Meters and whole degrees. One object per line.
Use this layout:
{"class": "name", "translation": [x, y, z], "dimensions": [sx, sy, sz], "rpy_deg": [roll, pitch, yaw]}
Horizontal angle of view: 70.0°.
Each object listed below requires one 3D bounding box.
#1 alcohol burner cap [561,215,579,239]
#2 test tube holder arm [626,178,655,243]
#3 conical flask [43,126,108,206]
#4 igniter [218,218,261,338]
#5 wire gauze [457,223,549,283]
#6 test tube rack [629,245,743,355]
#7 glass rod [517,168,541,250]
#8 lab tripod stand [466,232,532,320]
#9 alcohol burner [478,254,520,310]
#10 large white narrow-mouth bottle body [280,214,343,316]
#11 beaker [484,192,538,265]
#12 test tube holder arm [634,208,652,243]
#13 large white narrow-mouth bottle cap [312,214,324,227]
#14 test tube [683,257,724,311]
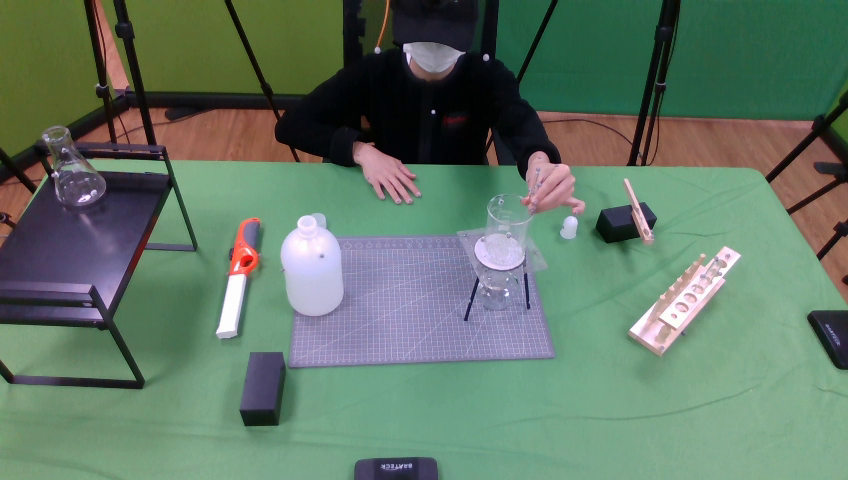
{"class": "alcohol burner cap", "translation": [0.299, -0.030, 1.231], "dimensions": [0.034, 0.048, 0.033], "rpy_deg": [0, 47, 0]}
{"class": "test tube holder arm", "translation": [0.434, -0.063, 1.220], "dimensions": [0.013, 0.015, 0.177], "rpy_deg": [3, 47, -4]}
{"class": "conical flask", "translation": [-0.555, -0.119, 0.953], "dimensions": [0.075, 0.122, 0.075], "rpy_deg": [2, 46, -2]}
{"class": "igniter", "translation": [-0.337, 0.060, 1.111], "dimensions": [0.057, 0.025, 0.274], "rpy_deg": [-8, 46, 4]}
{"class": "wire gauze", "translation": [0.131, 0.016, 1.017], "dimensions": [0.121, 0.011, 0.124], "rpy_deg": [-10, 44, -15]}
{"class": "test tube rack", "translation": [0.474, 0.095, 1.091], "dimensions": [0.242, 0.085, 0.066], "rpy_deg": [-34, 56, -31]}
{"class": "glass rod", "translation": [0.161, -0.042, 0.933], "dimensions": [0.008, 0.200, 0.008], "rpy_deg": [1, 55, -1]}
{"class": "lab tripod stand", "translation": [0.125, 0.059, 1.065], "dimensions": [0.148, 0.132, 0.147], "rpy_deg": [1, 45, 0]}
{"class": "alcohol burner", "translation": [0.134, 0.068, 1.071], "dimensions": [0.078, 0.120, 0.077], "rpy_deg": [0, 47, 0]}
{"class": "large white narrow-mouth bottle body", "translation": [-0.190, 0.035, 1.025], "dimensions": [0.102, 0.195, 0.101], "rpy_deg": [2, 46, -2]}
{"class": "beaker", "translation": [0.137, -0.016, 0.980], "dimensions": [0.084, 0.101, 0.073], "rpy_deg": [-6, 45, -9]}
{"class": "test tube holder arm", "translation": [0.428, -0.030, 1.189], "dimensions": [0.010, 0.015, 0.087], "rpy_deg": [3, 47, -3]}
{"class": "large white narrow-mouth bottle cap", "translation": [-0.219, -0.033, 1.214], "dimensions": [0.038, 0.024, 0.037], "rpy_deg": [2, 46, -2]}
{"class": "test tube", "translation": [0.476, 0.080, 1.037], "dimensions": [0.017, 0.151, 0.017], "rpy_deg": [1, 50, -1]}
